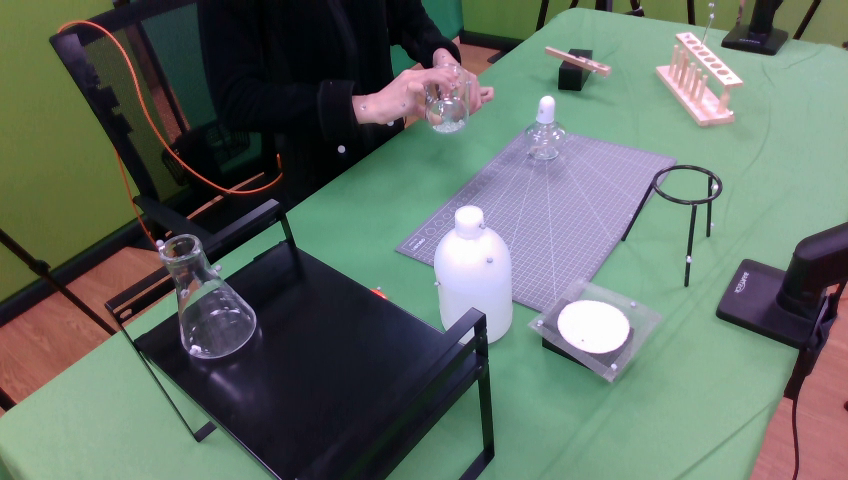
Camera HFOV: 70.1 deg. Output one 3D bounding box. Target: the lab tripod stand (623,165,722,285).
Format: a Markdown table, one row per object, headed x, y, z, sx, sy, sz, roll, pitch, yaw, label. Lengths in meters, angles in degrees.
| x | y | z | sx | sy | sz | roll | pitch | yaw | label |
| --- | --- | --- | --- | --- | --- | --- | --- | --- | --- |
| 0.365 | -0.030 | 0.875 | 0.148 | 0.132 | 0.147 | -6 | 41 | 6 | lab tripod stand |

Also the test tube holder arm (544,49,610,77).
| x | y | z | sx | sy | sz | roll | pitch | yaw | label |
| --- | --- | --- | --- | --- | --- | --- | --- | --- | --- |
| 0.330 | -0.387 | 1.314 | 0.013 | 0.015 | 0.177 | -25 | 43 | -31 | test tube holder arm |

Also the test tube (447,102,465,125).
| x | y | z | sx | sy | sz | roll | pitch | yaw | label |
| --- | --- | --- | --- | --- | --- | --- | --- | --- | --- |
| 0.060 | -0.230 | 1.103 | 0.017 | 0.017 | 0.150 | 0 | 1 | 10 | test tube |

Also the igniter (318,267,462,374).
| x | y | z | sx | sy | sz | roll | pitch | yaw | label |
| --- | --- | --- | --- | --- | --- | --- | --- | --- | --- |
| -0.059 | 0.107 | 0.862 | 0.274 | 0.025 | 0.057 | 28 | 62 | 34 | igniter |

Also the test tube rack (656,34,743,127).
| x | y | z | sx | sy | sz | roll | pitch | yaw | label |
| --- | --- | --- | --- | --- | --- | --- | --- | --- | --- |
| 0.553 | -0.330 | 1.233 | 0.067 | 0.085 | 0.241 | -7 | 40 | 2 | test tube rack |

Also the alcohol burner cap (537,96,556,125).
| x | y | z | sx | sy | sz | roll | pitch | yaw | label |
| --- | --- | --- | --- | --- | --- | --- | --- | --- | --- |
| 0.223 | -0.237 | 1.095 | 0.034 | 0.048 | 0.033 | 0 | 43 | 1 | alcohol burner cap |

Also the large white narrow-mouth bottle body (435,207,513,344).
| x | y | z | sx | sy | sz | roll | pitch | yaw | label |
| --- | --- | --- | --- | --- | --- | --- | --- | --- | --- |
| 0.065 | 0.041 | 0.791 | 0.102 | 0.195 | 0.101 | -4 | 41 | 4 | large white narrow-mouth bottle body |

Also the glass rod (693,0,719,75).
| x | y | z | sx | sy | sz | roll | pitch | yaw | label |
| --- | --- | --- | --- | --- | --- | --- | --- | --- | --- |
| 0.561 | -0.401 | 1.214 | 0.008 | 0.200 | 0.008 | -1 | 48 | 2 | glass rod |

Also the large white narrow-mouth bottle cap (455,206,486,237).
| x | y | z | sx | sy | sz | roll | pitch | yaw | label |
| --- | --- | --- | --- | --- | --- | --- | --- | --- | --- |
| 0.056 | -0.023 | 0.734 | 0.038 | 0.024 | 0.037 | -4 | 41 | 4 | large white narrow-mouth bottle cap |

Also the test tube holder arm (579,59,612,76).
| x | y | z | sx | sy | sz | roll | pitch | yaw | label |
| --- | --- | --- | --- | --- | --- | --- | --- | --- | --- |
| 0.362 | -0.368 | 1.289 | 0.010 | 0.015 | 0.087 | -25 | 43 | -31 | test tube holder arm |

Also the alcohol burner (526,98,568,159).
| x | y | z | sx | sy | sz | roll | pitch | yaw | label |
| --- | --- | --- | --- | --- | --- | --- | --- | --- | --- |
| 0.228 | -0.210 | 1.118 | 0.078 | 0.119 | 0.077 | -5 | 43 | 5 | alcohol burner |

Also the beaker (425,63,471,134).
| x | y | z | sx | sy | sz | roll | pitch | yaw | label |
| --- | --- | --- | --- | --- | --- | --- | --- | --- | --- |
| 0.039 | -0.223 | 0.971 | 0.074 | 0.084 | 0.100 | -2 | 45 | 6 | beaker |

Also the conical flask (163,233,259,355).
| x | y | z | sx | sy | sz | roll | pitch | yaw | label |
| --- | --- | --- | --- | --- | --- | --- | --- | --- | --- |
| -0.216 | 0.051 | 0.601 | 0.075 | 0.122 | 0.075 | -4 | 40 | 4 | conical flask |

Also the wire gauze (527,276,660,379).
| x | y | z | sx | sy | sz | roll | pitch | yaw | label |
| --- | --- | --- | --- | --- | --- | --- | --- | --- | --- |
| 0.213 | 0.103 | 0.763 | 0.124 | 0.011 | 0.122 | 30 | 52 | 35 | wire gauze |
